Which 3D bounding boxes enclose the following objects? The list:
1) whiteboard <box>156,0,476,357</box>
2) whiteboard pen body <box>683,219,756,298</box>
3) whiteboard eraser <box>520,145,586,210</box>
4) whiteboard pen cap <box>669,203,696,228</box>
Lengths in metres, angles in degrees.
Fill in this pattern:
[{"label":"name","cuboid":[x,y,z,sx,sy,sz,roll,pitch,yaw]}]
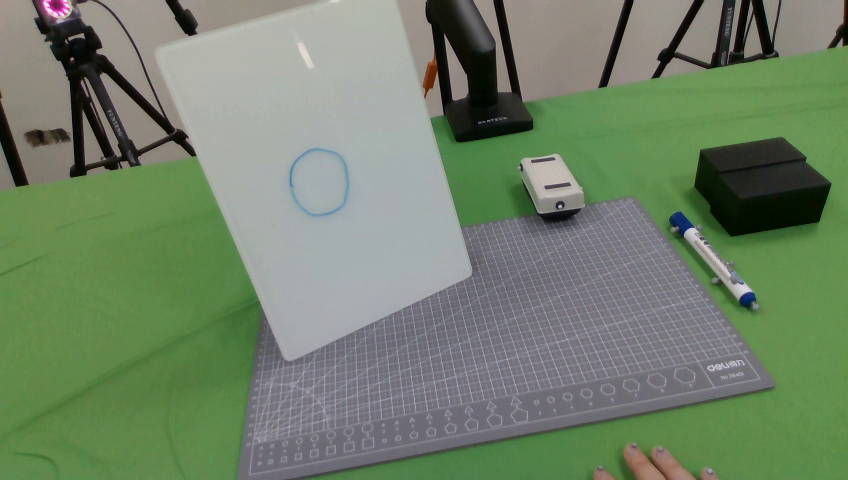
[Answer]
[{"label":"whiteboard","cuboid":[-0.105,-0.079,0.625,0.217,0.307,0.142,-24,21,-18]},{"label":"whiteboard pen body","cuboid":[0.297,0.009,0.627,0.017,0.017,0.139,-11,38,-3]},{"label":"whiteboard eraser","cuboid":[0.156,-0.077,0.741,0.055,0.042,0.111,-10,34,1]},{"label":"whiteboard pen cap","cuboid":[0.288,-0.026,0.672,0.018,0.018,0.033,-11,37,-3]}]
